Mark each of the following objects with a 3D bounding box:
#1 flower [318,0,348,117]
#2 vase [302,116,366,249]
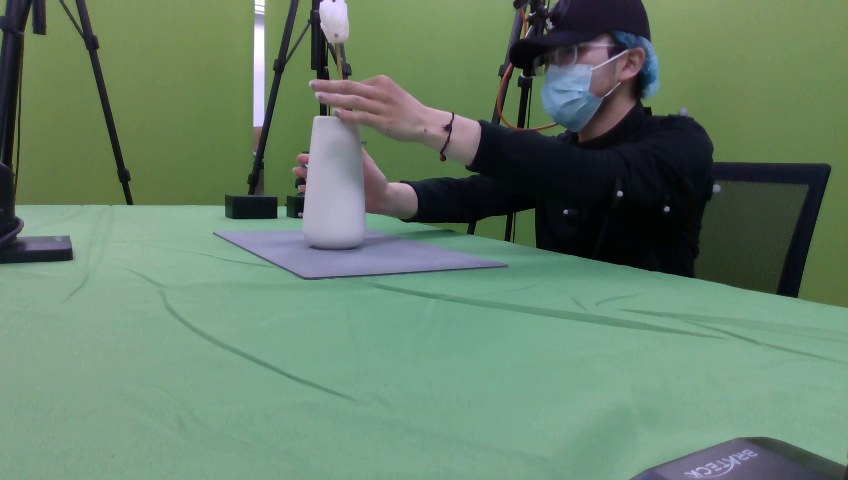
[{"bbox_3d":[-0.121,-0.174,0.919,0.038,0.361,0.044,6,17,39],"label":"flower"},{"bbox_3d":[-0.138,-0.088,0.930,0.098,0.200,0.098,2,8,0],"label":"vase"}]
